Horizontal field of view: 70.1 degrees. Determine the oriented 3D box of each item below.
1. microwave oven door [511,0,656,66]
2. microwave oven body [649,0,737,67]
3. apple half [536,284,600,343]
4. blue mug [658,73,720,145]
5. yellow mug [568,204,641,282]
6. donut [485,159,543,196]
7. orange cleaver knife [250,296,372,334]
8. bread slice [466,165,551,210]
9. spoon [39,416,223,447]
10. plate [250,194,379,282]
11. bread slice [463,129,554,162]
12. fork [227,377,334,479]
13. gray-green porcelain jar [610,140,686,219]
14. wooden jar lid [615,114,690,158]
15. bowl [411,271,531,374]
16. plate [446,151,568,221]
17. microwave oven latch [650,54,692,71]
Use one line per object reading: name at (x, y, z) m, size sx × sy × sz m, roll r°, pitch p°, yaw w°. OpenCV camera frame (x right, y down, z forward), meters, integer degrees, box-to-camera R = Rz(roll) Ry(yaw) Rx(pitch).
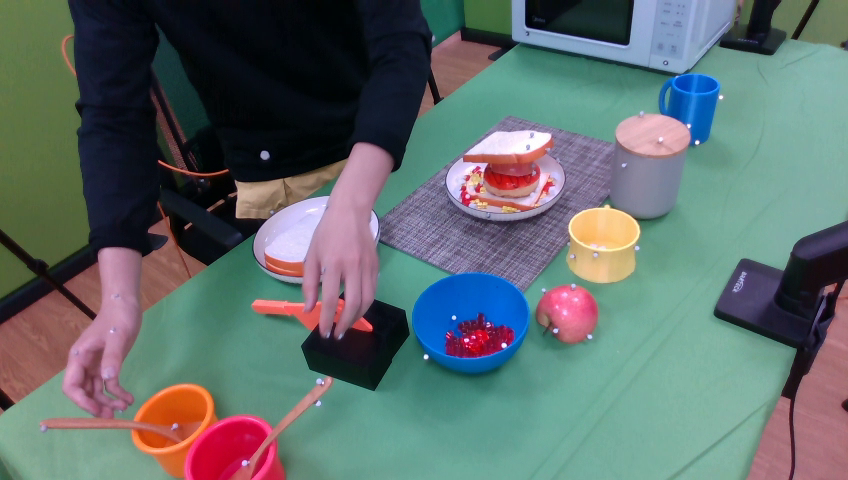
microwave oven door at (0.350, -0.539, 1.348) m, size 0.353 × 0.245 × 0.039 m, roll 24°, pitch 50°, yaw 31°
microwave oven body at (0.475, -0.602, 1.411) m, size 0.438 × 0.261 × 0.327 m, roll 23°, pitch 50°, yaw 32°
apple half at (0.196, 0.091, 0.815) m, size 0.075 × 0.053 × 0.080 m, roll -22°, pitch 42°, yaw -20°
blue mug at (0.483, -0.250, 1.127) m, size 0.082 × 0.106 × 0.115 m, roll -26°, pitch 44°, yaw -19°
yellow mug at (0.268, -0.004, 0.905) m, size 0.099 × 0.064 × 0.130 m, roll 6°, pitch 41°, yaw 16°
donut at (0.151, -0.112, 1.018) m, size 0.099 × 0.048 × 0.098 m, roll -4°, pitch 41°, yaw 4°
orange cleaver knife at (-0.159, 0.103, 0.828) m, size 0.210 × 0.078 × 0.012 m, roll -4°, pitch 43°, yaw 39°
bread slice at (0.141, -0.093, 1.041) m, size 0.133 × 0.018 × 0.107 m, roll 8°, pitch 42°, yaw 20°
spoon at (-0.320, 0.209, 0.677) m, size 0.021 × 0.195 × 0.041 m, roll -53°, pitch 41°, yaw 16°
plate at (-0.174, -0.001, 0.984) m, size 0.209 × 0.038 × 0.208 m, roll -4°, pitch 40°, yaw 3°
bread slice at (0.142, -0.154, 0.974) m, size 0.130 × 0.019 × 0.105 m, roll 9°, pitch 35°, yaw 38°
fork at (-0.162, 0.216, 0.647) m, size 0.207 × 0.019 × 0.028 m, roll -49°, pitch 41°, yaw 16°
gray-green porcelain jar at (0.354, -0.106, 0.964) m, size 0.106 × 0.127 × 0.105 m, roll -4°, pitch 41°, yaw 4°
wooden jar lid at (0.347, -0.155, 0.923) m, size 0.108 × 0.021 × 0.108 m, roll -3°, pitch 44°, yaw 4°
bowl at (0.062, 0.119, 0.780) m, size 0.151 × 0.077 × 0.150 m, roll -4°, pitch 40°, yaw 4°
plate at (0.142, -0.097, 1.045) m, size 0.207 × 0.039 × 0.206 m, roll -4°, pitch 41°, yaw 4°
microwave oven latch at (0.531, -0.386, 1.301) m, size 0.078 × 0.029 × 0.030 m, roll 25°, pitch 51°, yaw 33°
